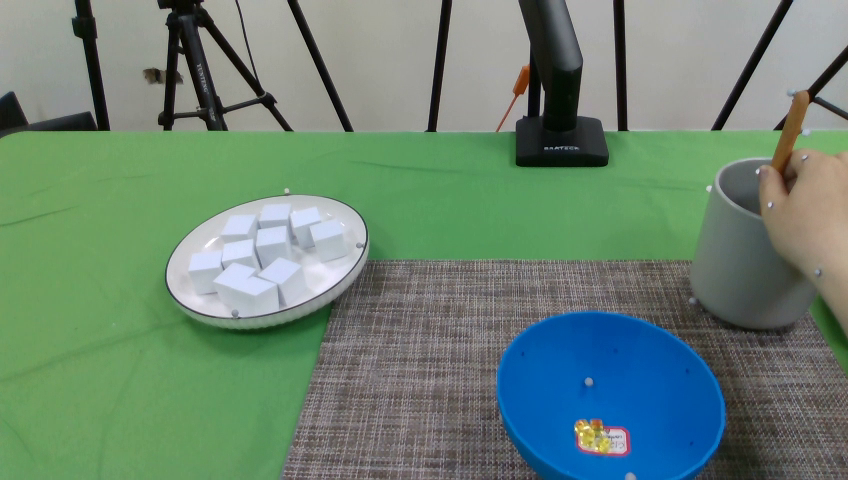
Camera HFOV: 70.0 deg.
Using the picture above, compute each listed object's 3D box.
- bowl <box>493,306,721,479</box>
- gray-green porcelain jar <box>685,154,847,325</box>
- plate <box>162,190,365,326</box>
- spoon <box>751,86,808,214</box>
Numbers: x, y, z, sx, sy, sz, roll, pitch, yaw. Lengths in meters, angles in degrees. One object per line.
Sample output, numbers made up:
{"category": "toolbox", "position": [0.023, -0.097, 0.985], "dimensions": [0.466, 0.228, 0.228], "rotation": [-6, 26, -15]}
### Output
{"category": "bowl", "position": [0.124, 0.127, 0.436], "dimensions": [0.151, 0.077, 0.150], "rotation": [-2, 38, 2]}
{"category": "gray-green porcelain jar", "position": [0.295, 0.004, 0.538], "dimensions": [0.106, 0.127, 0.105], "rotation": [-3, 38, 3]}
{"category": "plate", "position": [-0.163, 0.018, 0.638], "dimensions": [0.209, 0.038, 0.207], "rotation": [-3, 38, 3]}
{"category": "spoon", "position": [0.279, -0.029, 0.498], "dimensions": [0.022, 0.195, 0.041], "rotation": [-9, 33, -10]}
